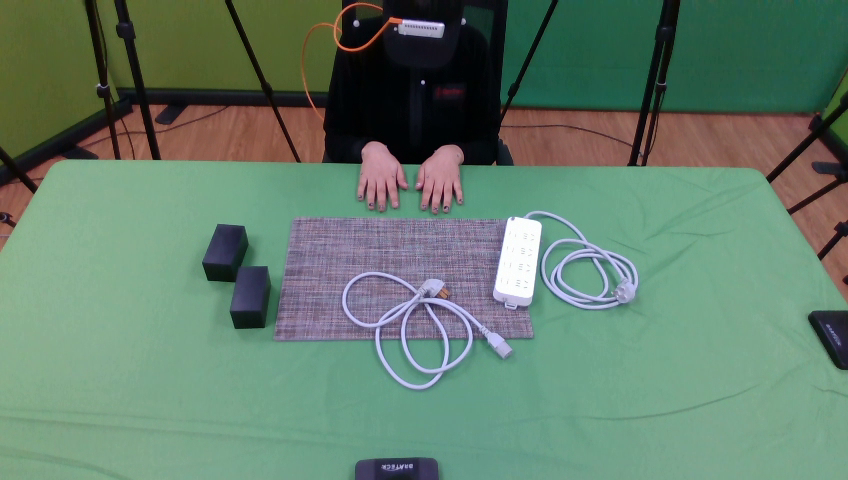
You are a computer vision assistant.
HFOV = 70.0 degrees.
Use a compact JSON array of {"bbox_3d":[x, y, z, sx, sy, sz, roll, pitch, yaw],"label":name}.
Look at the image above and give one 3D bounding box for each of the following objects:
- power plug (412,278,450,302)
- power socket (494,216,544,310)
[{"bbox_3d":[0.013,0.101,1.092,0.052,0.035,0.072,39,66,-1],"label":"power plug"},{"bbox_3d":[0.184,0.037,1.161,0.072,0.033,0.225,12,46,7],"label":"power socket"}]
